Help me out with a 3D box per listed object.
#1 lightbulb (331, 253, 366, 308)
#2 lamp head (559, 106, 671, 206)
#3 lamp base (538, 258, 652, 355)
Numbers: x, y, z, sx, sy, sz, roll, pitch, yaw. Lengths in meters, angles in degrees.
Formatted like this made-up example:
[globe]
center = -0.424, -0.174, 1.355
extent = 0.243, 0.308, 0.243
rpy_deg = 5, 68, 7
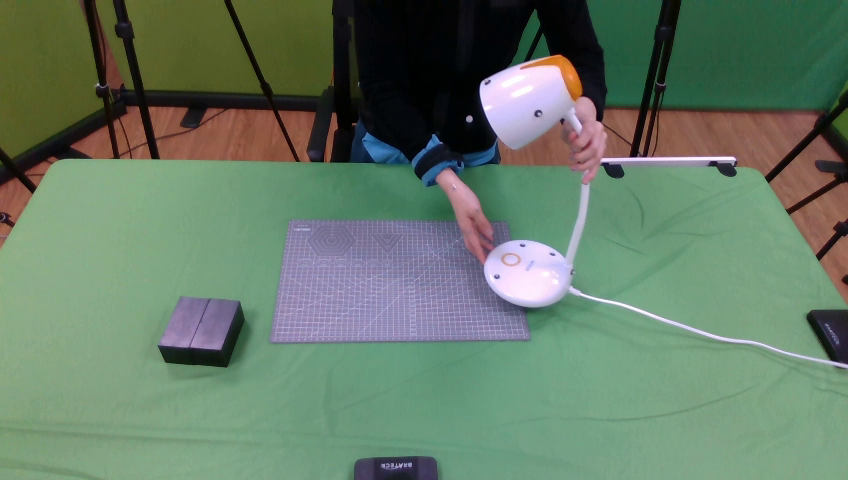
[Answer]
[lightbulb]
center = -0.131, 0.074, 1.094
extent = 0.059, 0.060, 0.107
rpy_deg = -15, 65, -18
[lamp head]
center = 0.256, -0.115, 0.786
extent = 0.123, 0.113, 0.112
rpy_deg = -22, 39, 28
[lamp base]
center = 0.294, 0.081, 1.005
extent = 0.179, 0.181, 0.159
rpy_deg = 9, 47, 3
